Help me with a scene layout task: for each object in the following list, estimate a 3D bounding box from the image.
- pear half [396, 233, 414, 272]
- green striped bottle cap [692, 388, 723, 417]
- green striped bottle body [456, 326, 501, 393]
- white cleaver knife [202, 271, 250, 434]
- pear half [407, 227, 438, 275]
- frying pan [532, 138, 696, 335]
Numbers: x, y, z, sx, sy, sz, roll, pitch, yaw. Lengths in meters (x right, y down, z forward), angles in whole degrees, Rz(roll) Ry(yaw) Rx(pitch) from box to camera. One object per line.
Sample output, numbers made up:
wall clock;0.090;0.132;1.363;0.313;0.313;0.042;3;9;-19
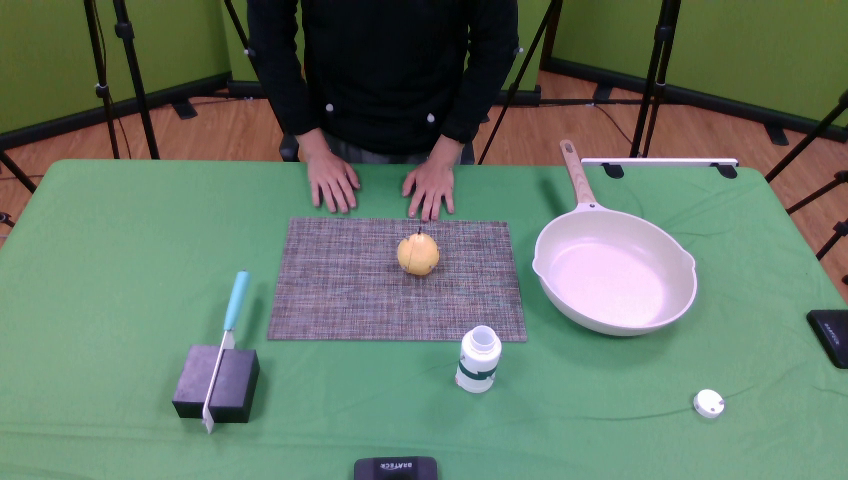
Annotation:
pear half;-0.036;0.019;1.125;0.031;0.088;0.070;5;50;-1
green striped bottle cap;0.460;0.263;0.984;0.044;0.020;0.044;3;46;-3
green striped bottle body;0.086;0.186;0.959;0.063;0.120;0.063;2;46;-2
white cleaver knife;-0.322;0.168;0.980;0.021;0.066;0.284;8;48;-6
pear half;0.000;0.016;1.117;0.056;0.110;0.076;4;51;0
frying pan;0.336;-0.024;1.190;0.307;0.103;0.484;-2;55;-7
